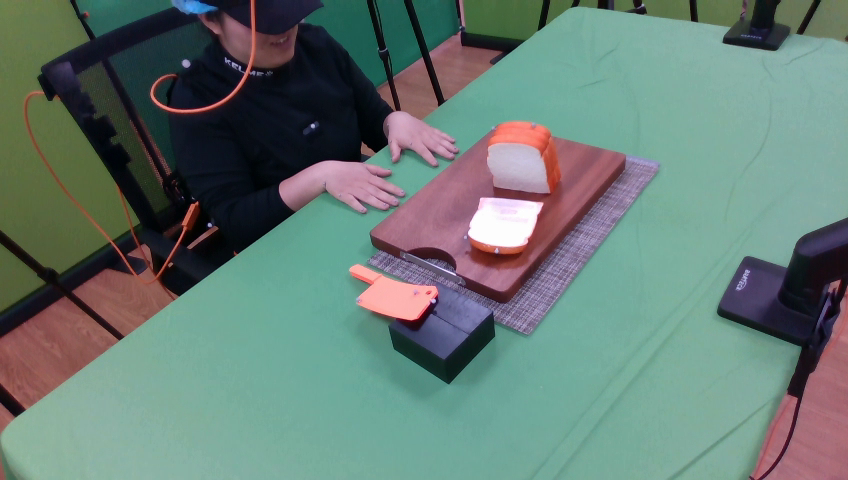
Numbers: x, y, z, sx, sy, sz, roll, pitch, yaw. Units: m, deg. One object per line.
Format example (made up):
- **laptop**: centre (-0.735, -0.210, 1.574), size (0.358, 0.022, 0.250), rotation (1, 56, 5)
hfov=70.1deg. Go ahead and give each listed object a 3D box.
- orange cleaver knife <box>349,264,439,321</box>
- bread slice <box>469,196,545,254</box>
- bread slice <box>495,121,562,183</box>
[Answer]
- **orange cleaver knife**: centre (-0.061, 0.073, 0.877), size (0.077, 0.012, 0.209), rotation (-39, 32, -27)
- **bread slice**: centre (0.124, -0.024, 0.943), size (0.104, 0.019, 0.131), rotation (8, 39, 18)
- **bread slice**: centre (0.170, -0.143, 0.997), size (0.106, 0.135, 0.018), rotation (10, 60, 21)
